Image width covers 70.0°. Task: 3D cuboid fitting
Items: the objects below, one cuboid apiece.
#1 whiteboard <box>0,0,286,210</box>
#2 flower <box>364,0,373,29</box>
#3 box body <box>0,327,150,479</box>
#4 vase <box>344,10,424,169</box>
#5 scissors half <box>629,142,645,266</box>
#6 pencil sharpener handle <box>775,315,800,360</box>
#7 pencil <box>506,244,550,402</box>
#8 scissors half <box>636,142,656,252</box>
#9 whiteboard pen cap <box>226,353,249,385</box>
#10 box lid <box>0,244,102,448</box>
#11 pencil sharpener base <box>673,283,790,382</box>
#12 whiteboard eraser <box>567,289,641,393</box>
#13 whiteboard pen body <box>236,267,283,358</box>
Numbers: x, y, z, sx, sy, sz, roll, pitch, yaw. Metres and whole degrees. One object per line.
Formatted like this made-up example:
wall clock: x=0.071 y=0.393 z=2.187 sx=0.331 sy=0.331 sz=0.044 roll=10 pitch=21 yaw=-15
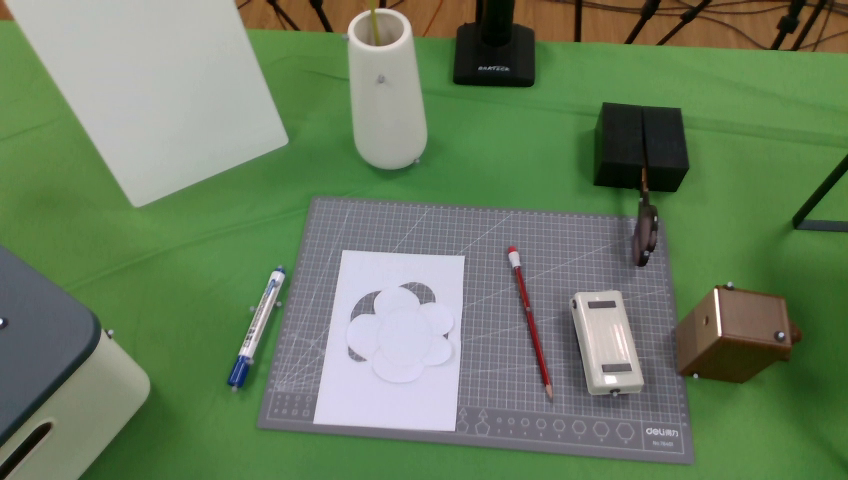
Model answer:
whiteboard: x=-0.341 y=-0.234 z=0.758 sx=0.217 sy=0.308 sz=0.142 roll=-26 pitch=42 yaw=-14
flower: x=-0.059 y=-0.234 z=0.684 sx=0.044 sy=0.365 sz=0.038 roll=-3 pitch=41 yaw=3
box body: x=-0.494 y=0.125 z=0.591 sx=0.362 sy=0.162 sz=0.253 roll=28 pitch=63 yaw=17
vase: x=-0.051 y=-0.179 z=0.747 sx=0.098 sy=0.202 sz=0.097 roll=-1 pitch=57 yaw=2
scissors half: x=0.263 y=-0.048 z=0.744 sx=0.013 sy=0.040 sz=0.174 roll=8 pitch=68 yaw=7
pencil sharpener handle: x=0.365 y=0.100 z=0.612 sx=0.030 sy=0.068 sz=0.035 roll=8 pitch=53 yaw=3
pencil: x=0.118 y=0.089 z=0.690 sx=0.012 sy=0.012 sz=0.192 roll=-8 pitch=61 yaw=-4
scissors half: x=0.263 y=-0.059 z=0.726 sx=0.013 sy=0.040 sz=0.173 roll=10 pitch=50 yaw=2
whiteboard pen cap: x=-0.201 y=0.140 z=0.658 sx=0.018 sy=0.018 sz=0.033 roll=9 pitch=55 yaw=7
box lid: x=-0.497 y=0.085 z=0.528 sx=0.369 sy=0.015 sz=0.262 roll=28 pitch=63 yaw=17
pencil sharpener base: x=0.314 y=0.098 z=0.625 sx=0.076 sy=0.108 sz=0.061 roll=8 pitch=58 yaw=2
whiteboard eraser: x=0.193 y=0.109 z=0.657 sx=0.055 sy=0.042 sz=0.111 roll=-4 pitch=59 yaw=0
whiteboard pen body: x=-0.190 y=0.091 z=0.690 sx=0.017 sy=0.017 sz=0.139 roll=10 pitch=57 yaw=8
